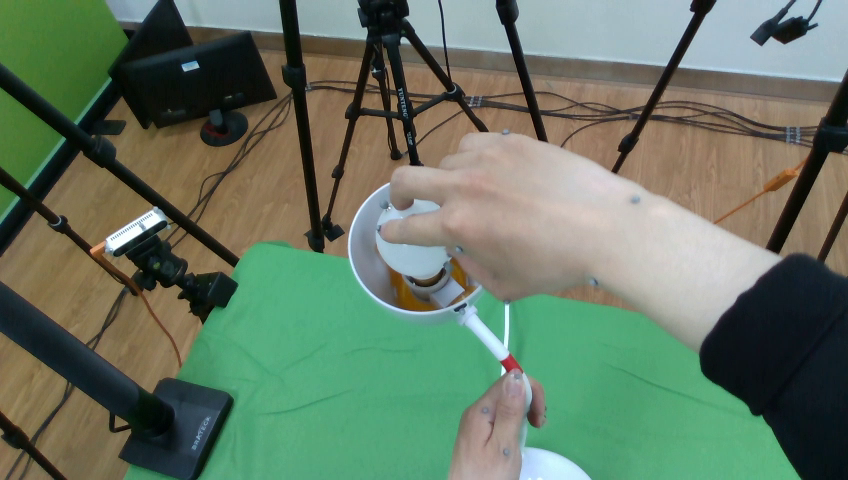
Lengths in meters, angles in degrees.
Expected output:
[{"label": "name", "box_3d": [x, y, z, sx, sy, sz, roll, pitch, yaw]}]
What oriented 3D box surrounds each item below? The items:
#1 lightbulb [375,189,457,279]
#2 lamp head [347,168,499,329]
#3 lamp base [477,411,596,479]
[{"label": "lightbulb", "box_3d": [-0.004, 0.002, 0.461, 0.059, 0.108, 0.059, -2, 66, 5]}, {"label": "lamp head", "box_3d": [0.005, 0.020, 0.488, 0.112, 0.124, 0.111, -3, 64, 6]}, {"label": "lamp base", "box_3d": [0.117, 0.265, 0.645, 0.161, 0.182, 0.177, -24, 54, -8]}]
